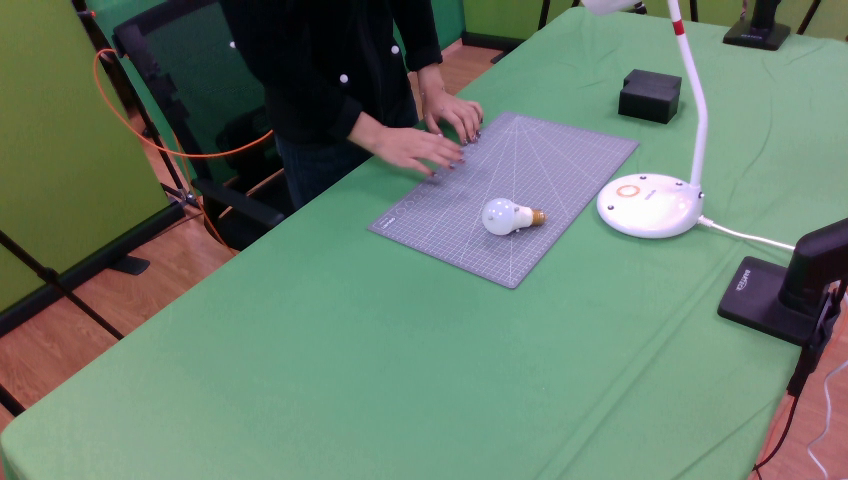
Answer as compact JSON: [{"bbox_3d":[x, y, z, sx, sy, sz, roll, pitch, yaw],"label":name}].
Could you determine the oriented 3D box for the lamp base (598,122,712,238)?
[{"bbox_3d":[0.365,-0.113,0.925,0.178,0.181,0.161,20,48,26],"label":"lamp base"}]

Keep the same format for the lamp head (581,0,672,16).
[{"bbox_3d":[0.261,-0.338,0.738,0.122,0.113,0.112,9,42,42],"label":"lamp head"}]

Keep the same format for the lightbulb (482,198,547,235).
[{"bbox_3d":[0.147,-0.037,0.974,0.108,0.059,0.059,1,39,-12],"label":"lightbulb"}]
